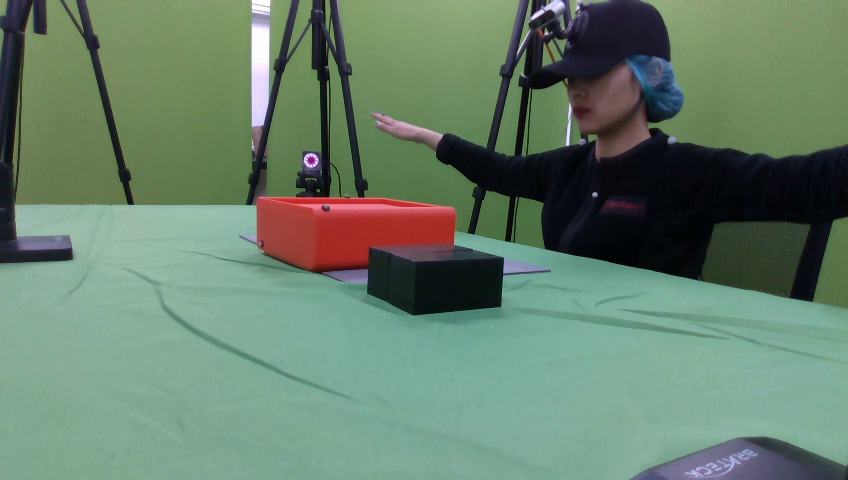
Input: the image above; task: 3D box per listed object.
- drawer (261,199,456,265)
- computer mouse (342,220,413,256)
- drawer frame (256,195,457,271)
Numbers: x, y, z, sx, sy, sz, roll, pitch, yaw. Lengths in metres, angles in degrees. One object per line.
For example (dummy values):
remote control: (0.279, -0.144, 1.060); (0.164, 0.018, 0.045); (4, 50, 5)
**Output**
drawer: (-0.094, -0.017, 0.844); (0.213, 0.073, 0.193); (-3, 10, -34)
computer mouse: (-0.067, -0.004, 0.853); (0.063, 0.041, 0.116); (1, 13, -33)
drawer frame: (-0.097, -0.017, 0.843); (0.215, 0.082, 0.200); (-4, 10, -35)
